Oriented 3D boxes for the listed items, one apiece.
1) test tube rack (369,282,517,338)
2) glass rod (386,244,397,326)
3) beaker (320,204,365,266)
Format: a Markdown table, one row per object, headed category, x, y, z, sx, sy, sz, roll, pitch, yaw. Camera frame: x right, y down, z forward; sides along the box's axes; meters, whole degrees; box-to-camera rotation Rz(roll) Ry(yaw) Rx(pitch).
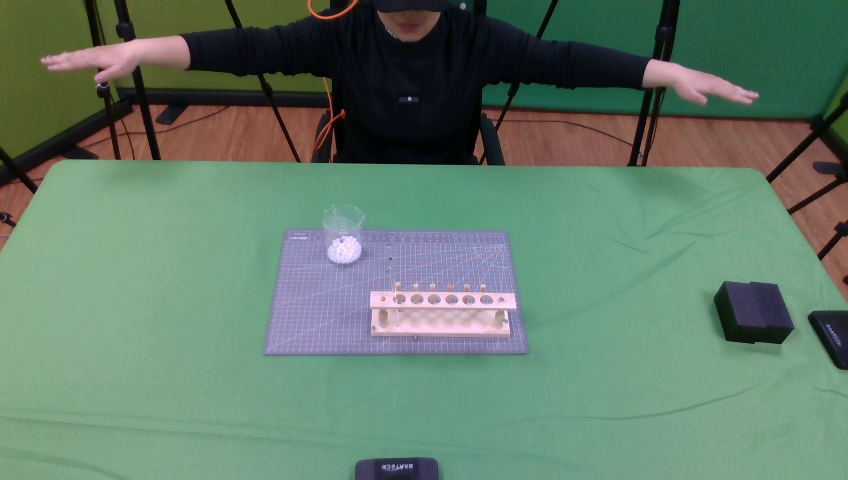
| category | x | y | z | sx | sy | sz | roll | pitch | yaw |
| --- | --- | --- | --- | --- | --- | --- | --- | --- | --- |
| test tube rack | 0.030 | 0.116 | 1.041 | 0.242 | 0.085 | 0.066 | 1 | 46 | -3 |
| glass rod | -0.052 | 0.078 | 0.979 | 0.008 | 0.201 | 0.008 | -1 | 45 | 1 |
| beaker | -0.151 | -0.008 | 1.137 | 0.084 | 0.101 | 0.073 | -12 | 49 | -16 |
